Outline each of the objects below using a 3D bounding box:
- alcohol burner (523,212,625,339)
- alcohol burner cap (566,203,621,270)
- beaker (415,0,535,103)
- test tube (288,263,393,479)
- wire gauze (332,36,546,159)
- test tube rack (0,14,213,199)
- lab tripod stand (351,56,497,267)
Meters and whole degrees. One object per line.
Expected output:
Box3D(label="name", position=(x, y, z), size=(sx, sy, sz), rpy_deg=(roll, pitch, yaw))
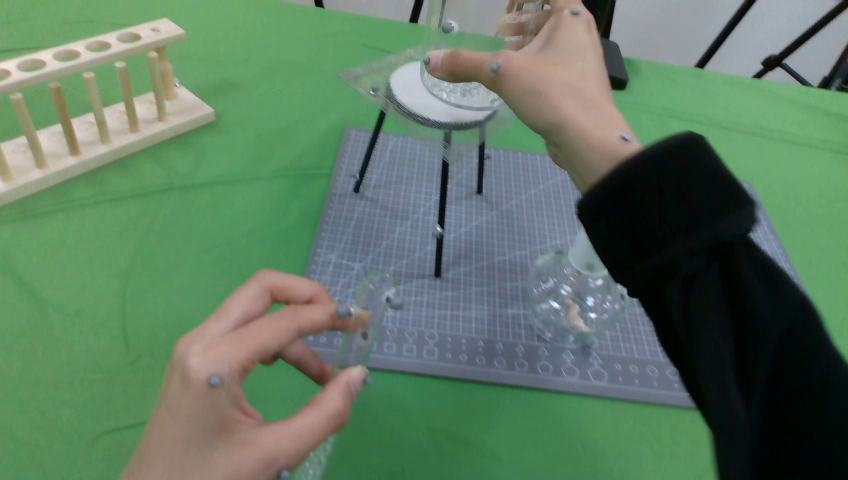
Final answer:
Box3D(label="alcohol burner", position=(0.117, 0.020, 0.456), size=(0.078, 0.120, 0.077), rpy_deg=(6, 44, -6))
Box3D(label="alcohol burner cap", position=(0.122, -0.004, 0.429), size=(0.034, 0.048, 0.033), rpy_deg=(2, 50, -2))
Box3D(label="beaker", position=(0.032, -0.146, 0.387), size=(0.084, 0.101, 0.073), rpy_deg=(-26, 52, -34))
Box3D(label="test tube", position=(-0.045, 0.074, 0.304), size=(0.017, 0.151, 0.017), rpy_deg=(17, 30, -10))
Box3D(label="wire gauze", position=(0.013, -0.120, 0.466), size=(0.124, 0.011, 0.121), rpy_deg=(38, 51, 23))
Box3D(label="test tube rack", position=(-0.318, -0.120, 0.541), size=(0.066, 0.086, 0.242), rpy_deg=(37, 50, 24))
Box3D(label="lab tripod stand", position=(0.007, -0.073, 0.514), size=(0.149, 0.132, 0.147), rpy_deg=(6, 46, -6))
